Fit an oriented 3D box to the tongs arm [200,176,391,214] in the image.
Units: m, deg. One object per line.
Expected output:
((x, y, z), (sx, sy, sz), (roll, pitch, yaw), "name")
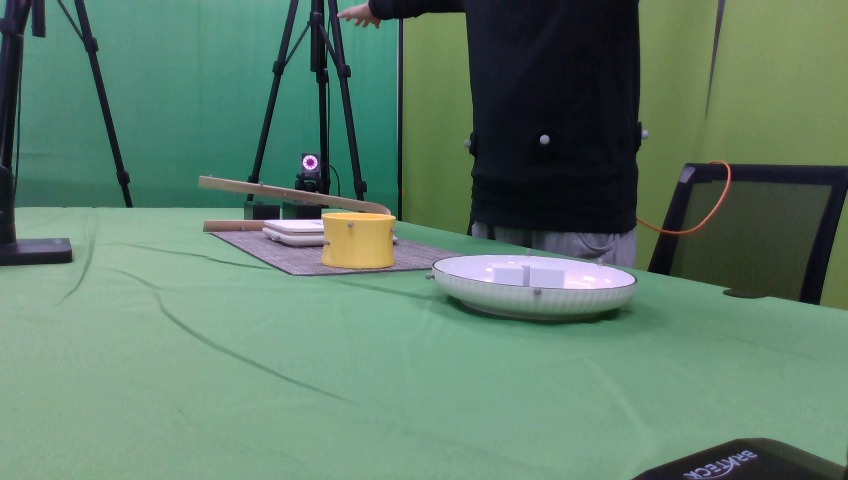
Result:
((-0.257, -0.084, 1.245), (0.387, 0.026, 0.050), (6, 32, -22), "tongs arm")

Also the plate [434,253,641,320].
((0.114, 0.047, 0.625), (0.208, 0.039, 0.207), (2, 7, 0), "plate")

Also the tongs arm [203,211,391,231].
((-0.231, -0.036, 1.185), (0.390, 0.028, 0.028), (-3, 33, -33), "tongs arm")

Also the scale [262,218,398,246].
((-0.160, -0.016, 1.028), (0.202, 0.031, 0.148), (-1, 9, -31), "scale")

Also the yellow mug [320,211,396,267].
((-0.089, -0.005, 0.825), (0.100, 0.064, 0.130), (3, 7, -3), "yellow mug")
